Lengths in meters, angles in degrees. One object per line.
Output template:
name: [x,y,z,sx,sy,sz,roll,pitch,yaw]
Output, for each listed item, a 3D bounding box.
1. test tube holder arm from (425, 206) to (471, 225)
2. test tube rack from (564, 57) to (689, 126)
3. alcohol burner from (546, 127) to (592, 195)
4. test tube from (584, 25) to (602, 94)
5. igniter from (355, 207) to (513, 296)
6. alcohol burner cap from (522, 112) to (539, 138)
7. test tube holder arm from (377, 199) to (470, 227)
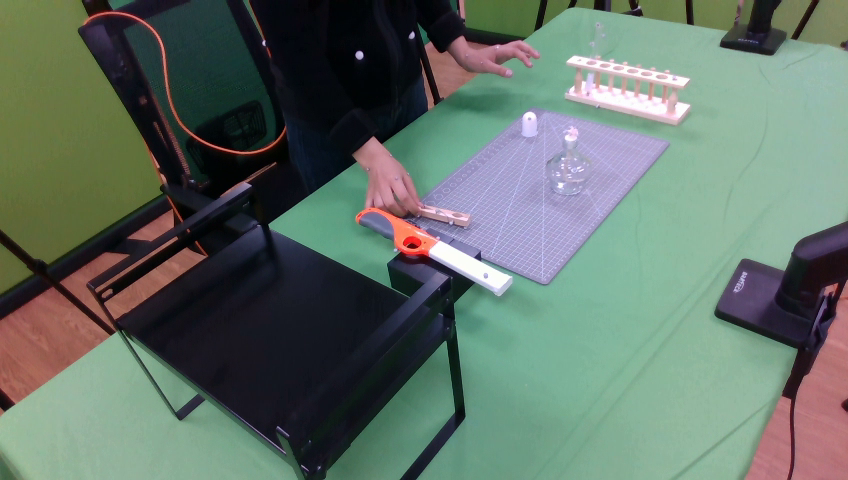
test tube holder arm: [0.038,-0.041,1.011,0.087,0.015,0.010,13,39,26]
test tube rack: [0.412,-0.311,1.230,0.240,0.085,0.067,23,49,32]
alcohol burner: [0.246,-0.137,1.024,0.078,0.119,0.077,-4,38,4]
test tube: [0.341,-0.362,1.224,0.017,0.151,0.017,-2,45,2]
igniter: [0.006,0.010,0.885,0.274,0.025,0.057,27,53,30]
alcohol burner cap: [0.210,-0.230,1.195,0.034,0.048,0.033,-5,41,5]
test tube holder arm: [-0.004,-0.047,1.027,0.177,0.015,0.013,12,39,25]
